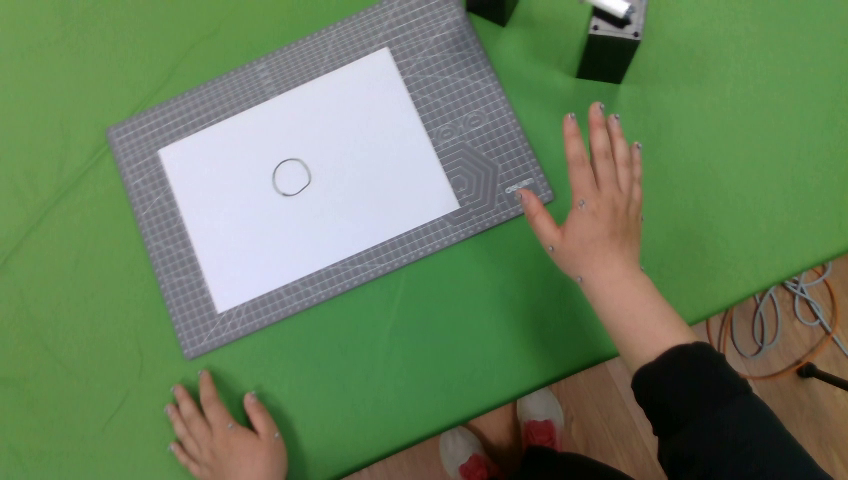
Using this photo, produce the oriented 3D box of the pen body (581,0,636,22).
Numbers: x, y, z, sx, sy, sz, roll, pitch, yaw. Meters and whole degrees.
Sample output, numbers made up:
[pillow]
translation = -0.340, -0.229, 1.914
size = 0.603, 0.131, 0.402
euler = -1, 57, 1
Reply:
[pen body]
translation = 0.136, -0.247, 0.584
size = 0.143, 0.017, 0.017
euler = 31, 86, 9
